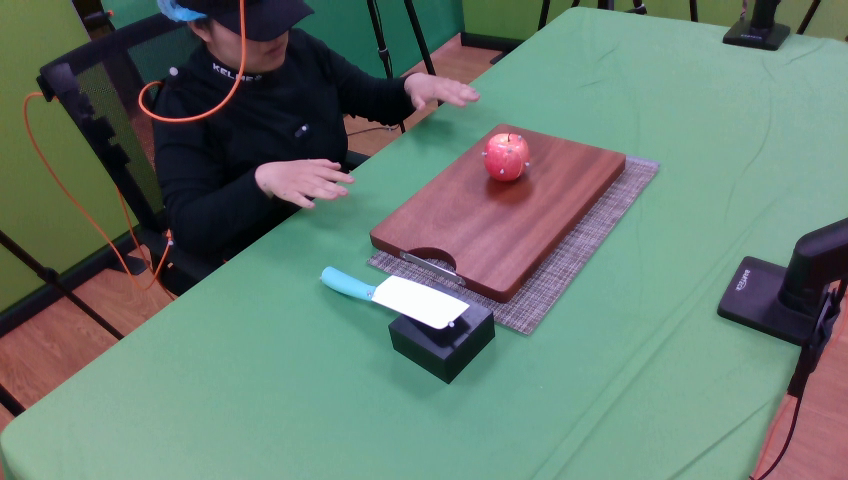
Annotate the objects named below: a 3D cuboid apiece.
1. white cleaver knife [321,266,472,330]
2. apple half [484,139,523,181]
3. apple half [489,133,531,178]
[{"bbox_3d":[-0.049,0.075,0.867,0.284,0.021,0.066,16,42,43],"label":"white cleaver knife"},{"bbox_3d":[0.128,-0.129,1.029,0.080,0.081,0.033,22,45,32],"label":"apple half"},{"bbox_3d":[0.153,-0.150,1.051,0.080,0.075,0.053,21,44,35],"label":"apple half"}]
